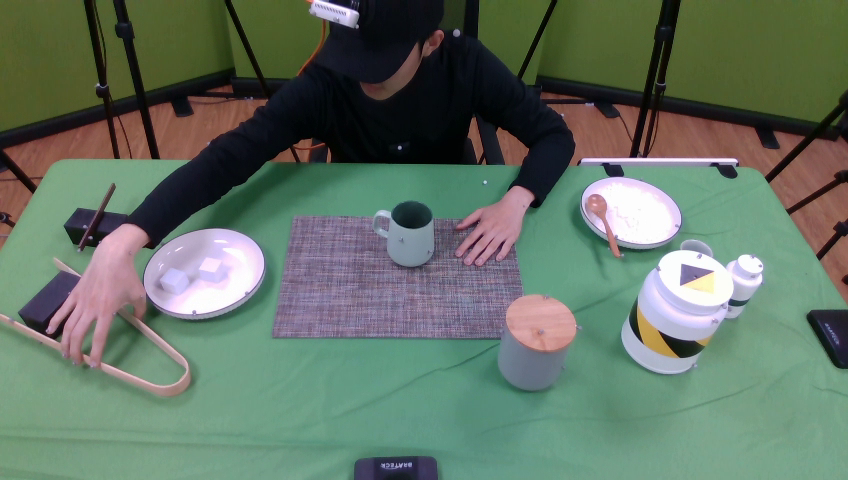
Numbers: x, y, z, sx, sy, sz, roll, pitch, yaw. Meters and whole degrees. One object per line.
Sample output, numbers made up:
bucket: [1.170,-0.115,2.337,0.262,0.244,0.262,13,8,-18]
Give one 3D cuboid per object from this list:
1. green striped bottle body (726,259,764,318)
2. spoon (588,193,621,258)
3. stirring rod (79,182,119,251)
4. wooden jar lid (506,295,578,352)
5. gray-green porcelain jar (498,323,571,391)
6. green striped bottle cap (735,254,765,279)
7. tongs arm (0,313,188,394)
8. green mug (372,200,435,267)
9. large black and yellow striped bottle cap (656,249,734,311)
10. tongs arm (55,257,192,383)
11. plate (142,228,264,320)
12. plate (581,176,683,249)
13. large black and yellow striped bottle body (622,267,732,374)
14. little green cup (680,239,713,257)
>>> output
green striped bottle body: [0.563,0.081,1.089,0.063,0.120,0.063,2,46,-2]
spoon: [0.367,-0.032,1.220,0.041,0.022,0.192,1,38,-1]
stirring rod: [-0.605,-0.047,1.130,0.006,0.014,0.175,0,47,2]
wooden jar lid: [0.179,0.130,0.925,0.108,0.021,0.107,2,43,-2]
gray-green porcelain jar: [0.176,0.172,0.970,0.106,0.127,0.105,2,46,-2]
green striped bottle cap: [0.566,0.046,1.051,0.044,0.020,0.044,0,45,0]
tongs arm: [-0.554,0.168,0.981,0.384,0.026,0.050,20,43,16]
green mug: [-0.040,-0.016,1.146,0.125,0.105,0.092,17,48,13]
large black and yellow striped bottle cap: [0.419,0.061,0.938,0.115,0.019,0.114,2,47,-2]
tongs arm: [-0.518,0.125,1.030,0.386,0.028,0.028,29,42,23]
plate: [-0.394,0.064,1.095,0.208,0.039,0.206,2,46,-2]
plate: [0.430,-0.054,1.267,0.209,0.038,0.208,2,46,-2]
large black and yellow striped bottle body: [0.415,0.119,0.997,0.131,0.185,0.130,2,46,-2]
little green cup: [0.530,0.033,1.189,0.061,0.039,0.061,2,48,-3]
